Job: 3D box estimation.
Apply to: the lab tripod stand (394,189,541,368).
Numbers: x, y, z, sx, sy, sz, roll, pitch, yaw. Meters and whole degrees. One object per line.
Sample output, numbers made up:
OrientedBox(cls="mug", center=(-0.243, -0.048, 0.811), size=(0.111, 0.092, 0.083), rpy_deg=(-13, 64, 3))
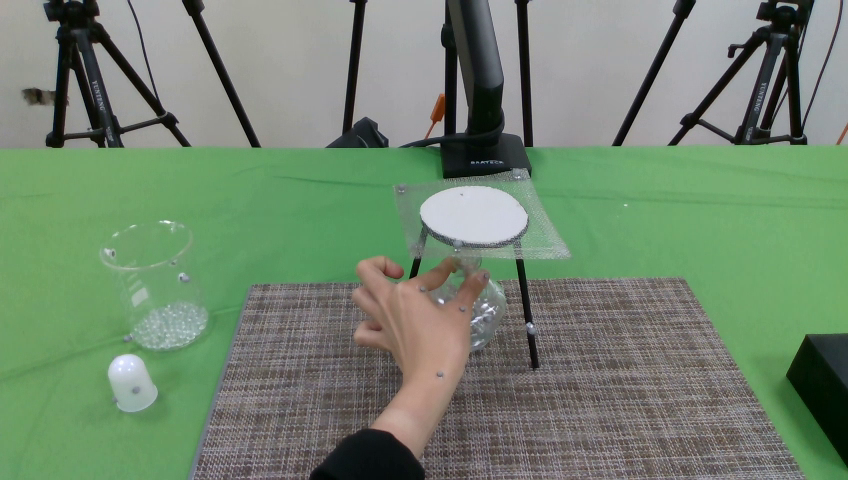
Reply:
OrientedBox(cls="lab tripod stand", center=(0.046, 0.034, 0.530), size=(0.148, 0.132, 0.147), rpy_deg=(2, 34, -1))

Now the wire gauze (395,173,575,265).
OrientedBox(cls="wire gauze", center=(0.043, -0.018, 0.487), size=(0.125, 0.011, 0.120), rpy_deg=(-3, 36, -7))

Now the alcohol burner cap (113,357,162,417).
OrientedBox(cls="alcohol burner cap", center=(-0.236, 0.117, 0.493), size=(0.034, 0.048, 0.033), rpy_deg=(1, 35, 0))

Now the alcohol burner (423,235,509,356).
OrientedBox(cls="alcohol burner", center=(0.038, 0.044, 0.532), size=(0.078, 0.120, 0.077), rpy_deg=(2, 36, -1))

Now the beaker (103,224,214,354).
OrientedBox(cls="beaker", center=(-0.232, 0.045, 0.546), size=(0.074, 0.101, 0.083), rpy_deg=(8, 35, 10))
